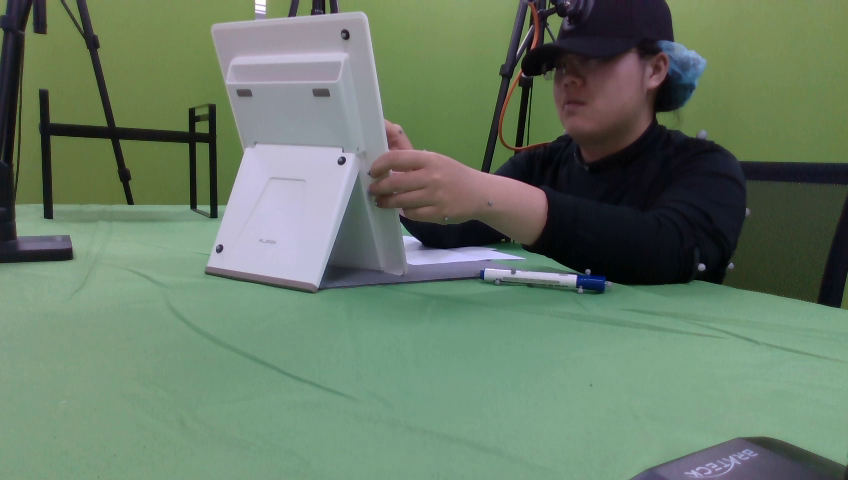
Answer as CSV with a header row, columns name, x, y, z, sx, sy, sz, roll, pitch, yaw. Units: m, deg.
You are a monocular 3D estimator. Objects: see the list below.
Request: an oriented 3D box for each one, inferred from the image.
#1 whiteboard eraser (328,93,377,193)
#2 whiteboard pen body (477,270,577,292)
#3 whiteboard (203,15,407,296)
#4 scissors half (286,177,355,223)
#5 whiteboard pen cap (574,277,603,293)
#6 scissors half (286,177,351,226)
name,x,y,z,sx,sy,sz,roll,pitch,yaw
whiteboard eraser,-0.084,-0.111,0.708,0.055,0.112,0.042,21,39,23
whiteboard pen body,0.131,0.049,0.706,0.140,0.017,0.017,5,8,18
whiteboard,-0.166,-0.072,0.668,0.216,0.305,0.144,8,30,29
scissors half,-0.229,-0.091,1.337,0.175,0.013,0.040,33,13,-13
whiteboard pen cap,0.186,0.051,0.687,0.033,0.018,0.018,5,8,17
scissors half,-0.232,-0.085,1.317,0.175,0.013,0.040,38,18,5
